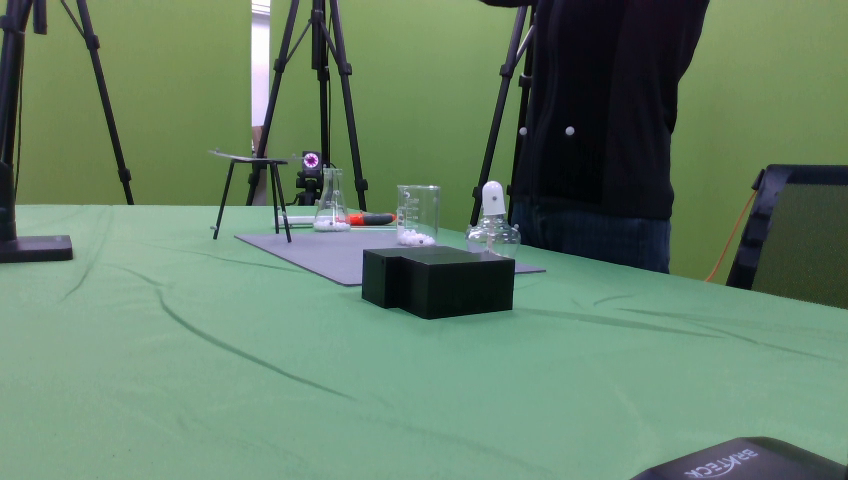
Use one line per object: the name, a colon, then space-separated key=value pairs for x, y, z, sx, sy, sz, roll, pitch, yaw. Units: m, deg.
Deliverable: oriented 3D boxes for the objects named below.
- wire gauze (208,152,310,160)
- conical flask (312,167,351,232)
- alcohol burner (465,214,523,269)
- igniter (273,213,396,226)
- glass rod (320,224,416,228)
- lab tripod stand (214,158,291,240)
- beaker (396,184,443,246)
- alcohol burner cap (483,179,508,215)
wire gauze: x=-0.270 y=-0.135 z=0.993 sx=0.124 sy=0.011 sz=0.122 roll=9 pitch=8 yaw=41
conical flask: x=-0.176 y=-0.078 z=1.162 sx=0.075 sy=0.122 sz=0.075 roll=3 pitch=7 yaw=0
alcohol burner: x=0.094 y=-0.022 z=0.815 sx=0.078 sy=0.119 sz=0.078 roll=0 pitch=7 yaw=0
igniter: x=-0.178 y=-0.043 z=1.258 sx=0.278 sy=0.025 sz=0.057 roll=-3 pitch=-1 yaw=-39
glass rod: x=-0.112 y=-0.029 z=1.236 sx=0.200 sy=0.008 sz=0.008 roll=-1 pitch=7 yaw=-18
lab tripod stand: x=-0.268 y=-0.068 z=1.002 sx=0.148 sy=0.131 sz=0.148 roll=3 pitch=6 yaw=0
beaker: x=-0.011 y=-0.043 z=1.004 sx=0.083 sy=0.100 sz=0.074 roll=8 pitch=9 yaw=39
alcohol burner cap: x=0.094 y=-0.057 z=0.810 sx=0.034 sy=0.048 sz=0.034 roll=-7 pitch=6 yaw=1
